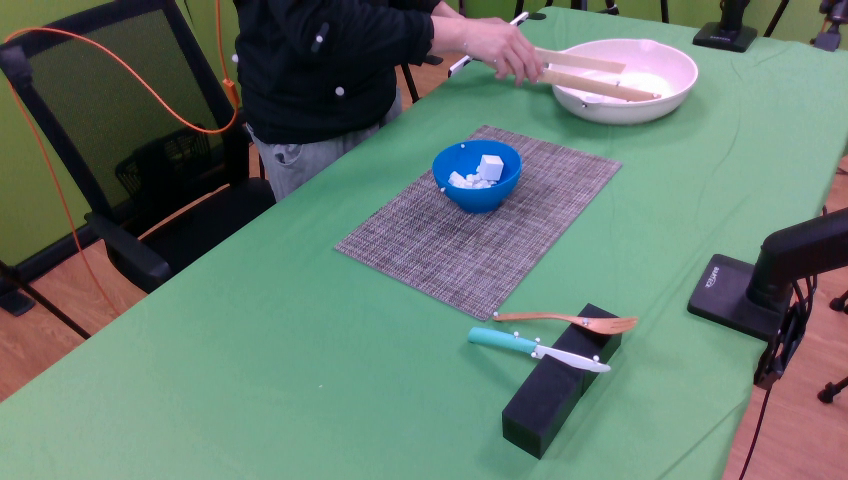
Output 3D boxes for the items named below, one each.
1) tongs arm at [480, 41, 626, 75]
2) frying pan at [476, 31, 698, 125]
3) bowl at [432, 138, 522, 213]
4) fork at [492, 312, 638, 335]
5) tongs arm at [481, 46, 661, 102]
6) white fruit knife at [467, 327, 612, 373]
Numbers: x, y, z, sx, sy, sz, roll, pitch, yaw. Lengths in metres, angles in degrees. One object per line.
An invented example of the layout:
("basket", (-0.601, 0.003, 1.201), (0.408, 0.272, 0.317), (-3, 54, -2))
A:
("tongs arm", (0.257, -0.342, 1.154), (0.391, 0.028, 0.028), (-4, 50, -34))
("frying pan", (0.321, -0.371, 1.290), (0.484, 0.103, 0.307), (29, 51, 24))
("bowl", (0.091, -0.100, 1.022), (0.151, 0.077, 0.150), (-4, 41, 4))
("fork", (0.173, 0.103, 0.774), (0.206, 0.019, 0.028), (0, 38, 40))
("tongs arm", (0.281, -0.297, 1.111), (0.388, 0.026, 0.050), (3, 43, -27))
("white fruit knife", (0.134, 0.134, 0.742), (0.205, 0.027, 0.016), (7, 35, 41))
